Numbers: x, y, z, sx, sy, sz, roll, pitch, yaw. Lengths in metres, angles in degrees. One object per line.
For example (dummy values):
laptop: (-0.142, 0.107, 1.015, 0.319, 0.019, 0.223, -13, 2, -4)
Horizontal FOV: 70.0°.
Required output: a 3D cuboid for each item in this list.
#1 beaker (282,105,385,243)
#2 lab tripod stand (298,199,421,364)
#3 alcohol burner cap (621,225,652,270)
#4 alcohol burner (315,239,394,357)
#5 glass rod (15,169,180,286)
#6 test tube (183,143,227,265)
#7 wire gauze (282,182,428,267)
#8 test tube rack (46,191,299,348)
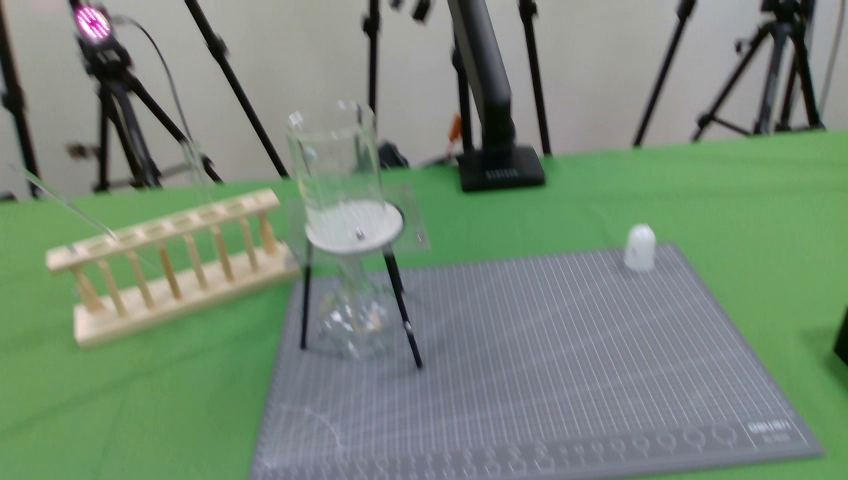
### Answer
beaker: (-0.076, -0.055, 0.516, 0.083, 0.101, 0.074, 12, 36, 27)
lab tripod stand: (-0.060, 0.040, 0.580, 0.148, 0.132, 0.147, -4, 35, 3)
alcohol burner cap: (0.237, 0.006, 0.673, 0.034, 0.048, 0.033, -4, 33, 3)
alcohol burner: (-0.069, 0.052, 0.580, 0.078, 0.120, 0.077, -4, 31, 3)
glass rod: (-0.336, -0.006, 0.639, 0.008, 0.202, 0.008, -23, 41, 22)
test tube: (-0.246, -0.037, 0.684, 0.017, 0.151, 0.017, -3, 30, 2)
wire gauze: (-0.066, -0.015, 0.544, 0.125, 0.011, 0.120, -11, 31, -3)
test tube rack: (-0.274, 0.028, 0.681, 0.243, 0.086, 0.066, -19, 35, -20)
